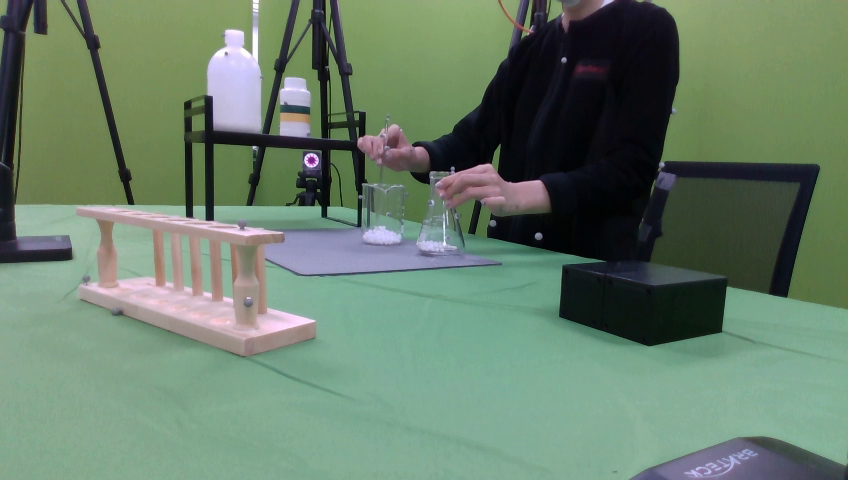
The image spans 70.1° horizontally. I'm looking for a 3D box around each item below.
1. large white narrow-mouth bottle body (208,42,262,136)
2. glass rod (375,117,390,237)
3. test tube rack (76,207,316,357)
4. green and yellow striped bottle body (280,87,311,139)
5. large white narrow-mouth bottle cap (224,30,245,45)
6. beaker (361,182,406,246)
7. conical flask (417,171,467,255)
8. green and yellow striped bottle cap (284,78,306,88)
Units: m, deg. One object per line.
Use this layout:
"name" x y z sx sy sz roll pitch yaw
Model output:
"large white narrow-mouth bottle body" -0.369 -0.304 1.181 0.102 0.194 0.101 2 9 0
"glass rod" -0.070 -0.103 1.002 0.008 0.199 0.008 6 7 0
"test tube rack" -0.196 0.023 0.500 0.241 0.085 0.067 8 9 36
"green and yellow striped bottle body" -0.269 -0.274 1.266 0.063 0.119 0.063 3 7 0
"large white narrow-mouth bottle cap" -0.365 -0.389 1.166 0.038 0.024 0.037 2 9 0
"beaker" -0.067 -0.042 0.993 0.074 0.100 0.084 1 8 -8
"conical flask" 0.027 -0.041 0.894 0.075 0.122 0.075 0 6 0
"green and yellow striped bottle cap" -0.268 -0.325 1.259 0.045 0.020 0.045 5 8 0
